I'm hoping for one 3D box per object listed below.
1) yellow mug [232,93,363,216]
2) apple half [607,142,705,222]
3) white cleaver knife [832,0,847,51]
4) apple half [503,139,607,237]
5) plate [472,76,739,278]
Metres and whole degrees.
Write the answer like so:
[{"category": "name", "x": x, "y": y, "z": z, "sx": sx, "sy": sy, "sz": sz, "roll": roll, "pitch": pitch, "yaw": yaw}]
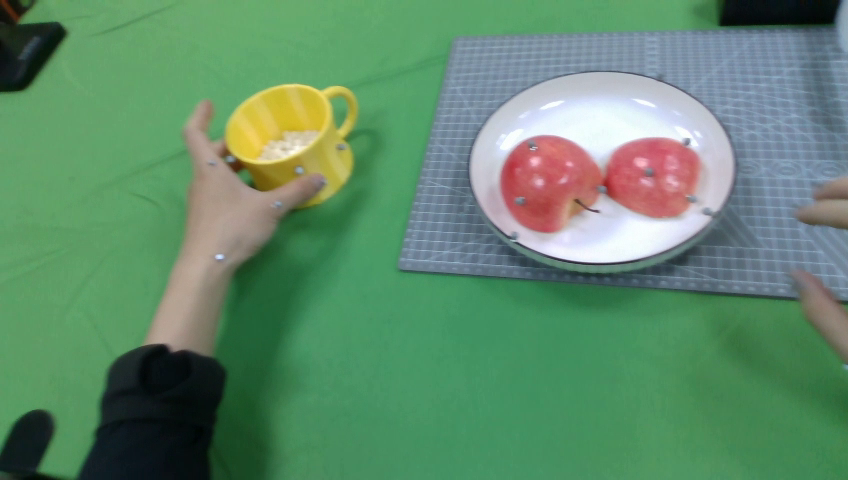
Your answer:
[{"category": "yellow mug", "x": -0.109, "y": -0.091, "z": 0.576, "sx": 0.130, "sy": 0.064, "sz": 0.099, "roll": -42, "pitch": 56, "yaw": -18}, {"category": "apple half", "x": 0.186, "y": -0.055, "z": 0.486, "sx": 0.081, "sy": 0.033, "sz": 0.080, "roll": -6, "pitch": 57, "yaw": 10}, {"category": "white cleaver knife", "x": 0.387, "y": -0.205, "z": 0.536, "sx": 0.021, "sy": 0.066, "sz": 0.284, "roll": 1, "pitch": 52, "yaw": 19}, {"category": "apple half", "x": 0.104, "y": -0.050, "z": 0.490, "sx": 0.081, "sy": 0.054, "sz": 0.074, "roll": -33, "pitch": 52, "yaw": -10}, {"category": "plate", "x": 0.144, "y": -0.053, "z": 0.503, "sx": 0.209, "sy": 0.038, "sz": 0.207, "roll": -6, "pitch": 55, "yaw": 9}]
